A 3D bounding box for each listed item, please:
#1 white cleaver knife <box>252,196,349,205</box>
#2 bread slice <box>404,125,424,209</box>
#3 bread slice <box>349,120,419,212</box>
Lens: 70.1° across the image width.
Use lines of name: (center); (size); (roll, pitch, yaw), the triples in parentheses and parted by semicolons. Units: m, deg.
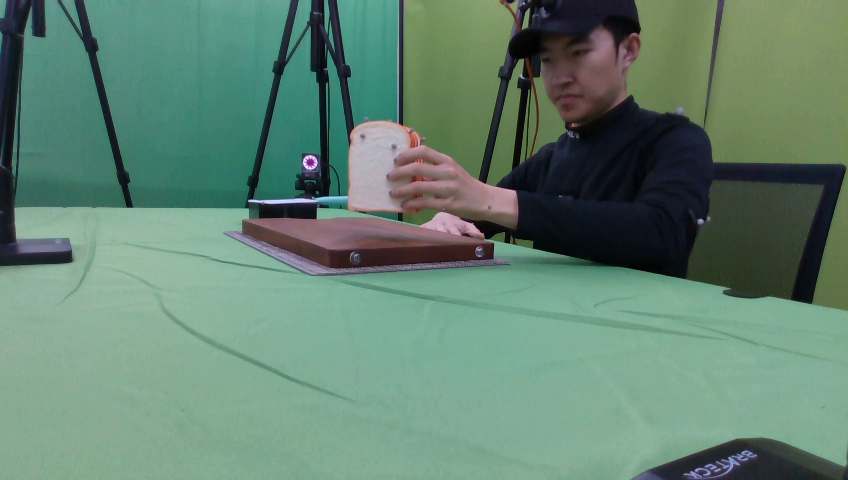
white cleaver knife: (-0.257, -0.087, 1.306); (0.065, 0.021, 0.288); (7, 7, 30)
bread slice: (-0.047, -0.113, 0.930); (0.104, 0.131, 0.019); (4, 5, 15)
bread slice: (-0.062, -0.107, 0.883); (0.107, 0.134, 0.018); (-1, 10, 14)
